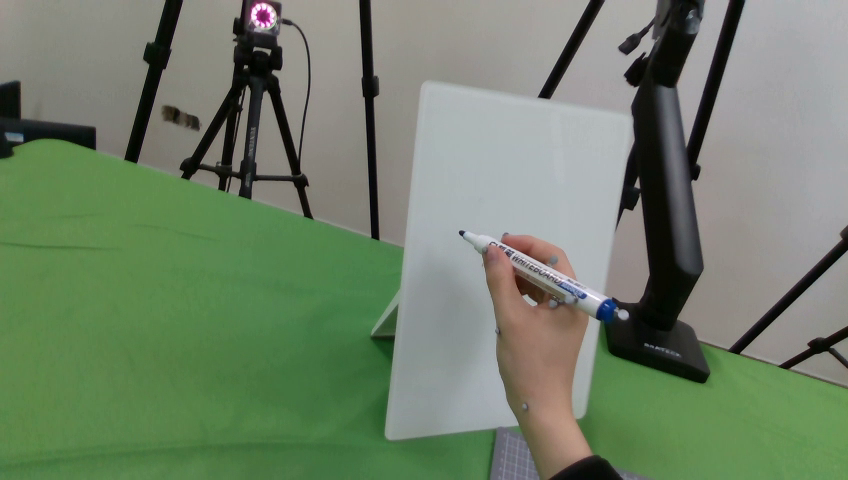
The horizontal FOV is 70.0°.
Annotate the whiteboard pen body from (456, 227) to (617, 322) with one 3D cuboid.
[{"bbox_3d":[0.071,0.019,0.418,0.017,0.017,0.139,-10,30,-41],"label":"whiteboard pen body"}]

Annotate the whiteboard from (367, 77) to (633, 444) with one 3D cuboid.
[{"bbox_3d":[0.052,0.014,0.593,0.218,0.306,0.142,2,11,-25],"label":"whiteboard"}]
